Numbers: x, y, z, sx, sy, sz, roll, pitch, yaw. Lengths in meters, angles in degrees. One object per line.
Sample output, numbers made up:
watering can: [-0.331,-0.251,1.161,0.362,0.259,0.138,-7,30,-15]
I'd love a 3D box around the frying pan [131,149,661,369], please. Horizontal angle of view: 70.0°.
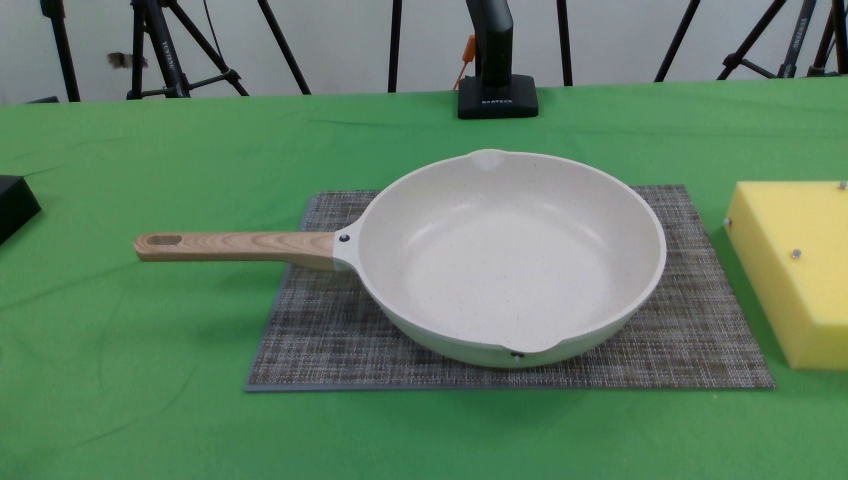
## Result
frying pan: [-0.028,0.010,0.588,0.489,0.103,0.303,2,38,-5]

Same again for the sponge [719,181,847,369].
sponge: [0.376,0.024,0.571,0.118,0.061,0.205,0,39,5]
